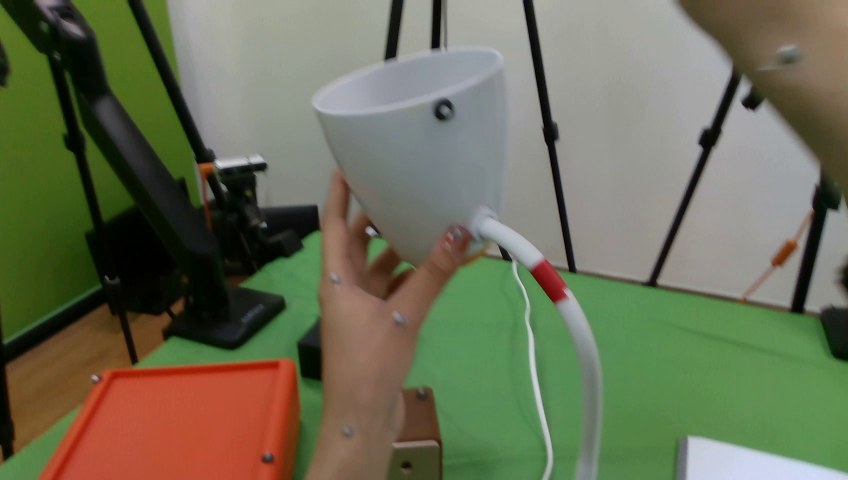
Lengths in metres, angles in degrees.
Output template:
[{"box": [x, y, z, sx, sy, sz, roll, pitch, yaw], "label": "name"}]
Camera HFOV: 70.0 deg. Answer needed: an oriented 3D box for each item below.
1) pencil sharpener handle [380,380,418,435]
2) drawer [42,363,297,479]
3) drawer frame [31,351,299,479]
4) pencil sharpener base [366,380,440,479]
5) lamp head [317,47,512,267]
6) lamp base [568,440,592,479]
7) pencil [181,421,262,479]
[{"box": [-0.026, 0.156, 0.588, 0.036, 0.068, 0.030, 3, 26, -8], "label": "pencil sharpener handle"}, {"box": [-0.224, 0.203, 0.550, 0.195, 0.074, 0.210, -3, 26, -5], "label": "drawer"}, {"box": [-0.226, 0.201, 0.552, 0.202, 0.083, 0.211, -4, 26, -5], "label": "drawer frame"}, {"box": [-0.020, 0.189, 0.549, 0.061, 0.108, 0.076, -3, 27, -5], "label": "pencil sharpener base"}, {"box": [0.007, -0.045, 0.367, 0.112, 0.124, 0.111, -14, 23, 7], "label": "lamp head"}, {"box": [0.102, 0.232, 0.378, 0.161, 0.181, 0.177, -5, 23, -8], "label": "lamp base"}, {"box": [-0.221, 0.220, 0.524, 0.012, 0.012, 0.194, 23, 47, 39], "label": "pencil"}]
